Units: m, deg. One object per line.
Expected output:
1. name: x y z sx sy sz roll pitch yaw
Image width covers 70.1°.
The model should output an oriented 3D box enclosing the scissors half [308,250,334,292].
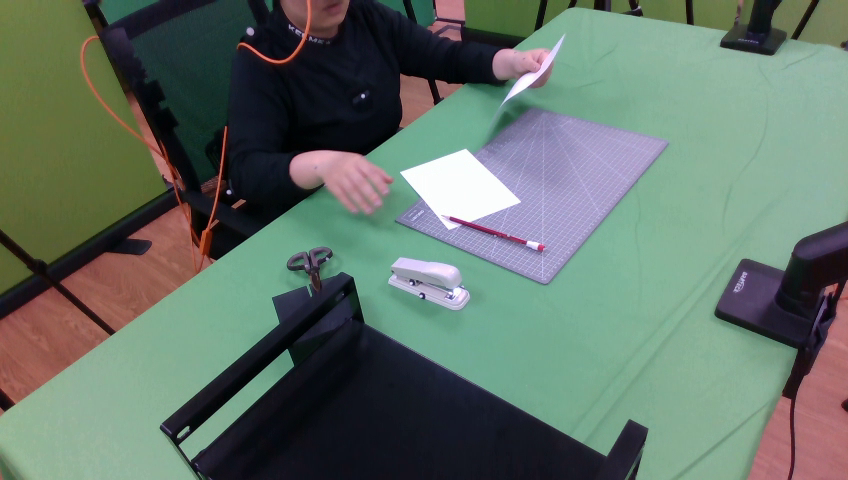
1. scissors half: -0.159 0.046 0.913 0.040 0.013 0.174 -6 18 -4

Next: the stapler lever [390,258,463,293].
1. stapler lever: 0.002 0.046 0.881 0.117 0.040 0.027 17 44 29

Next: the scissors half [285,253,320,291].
1. scissors half: -0.178 0.049 0.909 0.040 0.013 0.174 -17 20 -19

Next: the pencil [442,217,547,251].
1. pencil: 0.110 -0.012 0.979 0.192 0.012 0.012 18 46 30

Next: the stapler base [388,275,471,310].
1. stapler base: 0.007 0.066 0.897 0.129 0.024 0.041 17 43 29
